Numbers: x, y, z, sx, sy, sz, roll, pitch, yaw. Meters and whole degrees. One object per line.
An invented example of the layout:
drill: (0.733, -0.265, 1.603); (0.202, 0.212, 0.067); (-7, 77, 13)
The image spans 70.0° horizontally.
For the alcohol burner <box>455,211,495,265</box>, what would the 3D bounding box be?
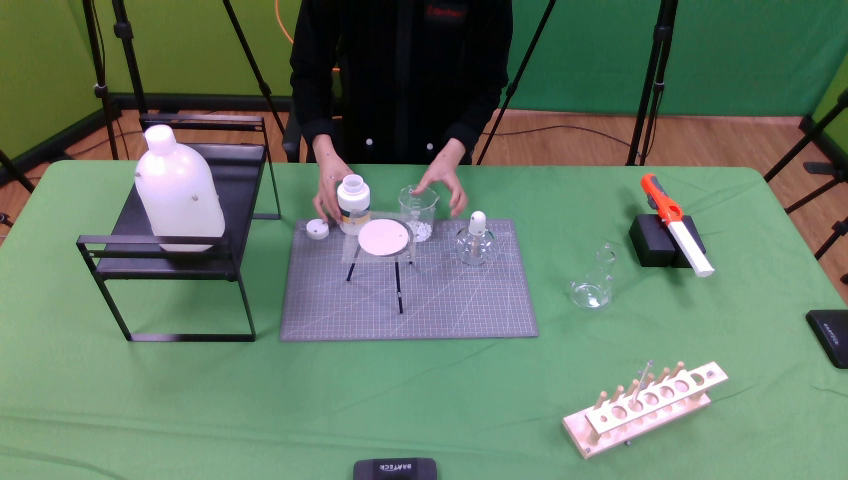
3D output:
alcohol burner: (0.097, -0.010, 1.147); (0.078, 0.120, 0.077); (1, 47, -1)

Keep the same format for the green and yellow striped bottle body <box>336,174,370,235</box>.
green and yellow striped bottle body: (-0.138, -0.071, 1.184); (0.063, 0.120, 0.063); (2, 45, -2)

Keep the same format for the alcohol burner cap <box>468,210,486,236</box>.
alcohol burner cap: (0.100, -0.034, 1.119); (0.034, 0.048, 0.033); (0, 53, 0)

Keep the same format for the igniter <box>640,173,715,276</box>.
igniter: (0.495, -0.039, 1.204); (0.057, 0.025, 0.274); (-2, 47, -12)

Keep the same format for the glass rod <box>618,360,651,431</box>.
glass rod: (0.298, 0.227, 0.865); (0.008, 0.201, 0.008); (-1, 47, 2)

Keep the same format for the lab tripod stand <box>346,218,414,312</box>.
lab tripod stand: (-0.070, 0.037, 1.075); (0.148, 0.132, 0.147); (1, 48, -1)

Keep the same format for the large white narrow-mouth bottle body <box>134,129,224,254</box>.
large white narrow-mouth bottle body: (-0.358, -0.075, 0.875); (0.102, 0.195, 0.101); (1, 48, -1)

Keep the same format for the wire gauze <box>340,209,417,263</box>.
wire gauze: (-0.074, -0.007, 1.023); (0.121, 0.011, 0.124); (3, 46, 0)

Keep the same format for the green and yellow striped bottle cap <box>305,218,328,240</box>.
green and yellow striped bottle cap: (-0.214, -0.022, 1.203); (0.045, 0.020, 0.045); (4, 47, -4)

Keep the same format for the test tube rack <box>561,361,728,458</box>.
test tube rack: (0.341, 0.248, 0.940); (0.243, 0.085, 0.066); (-15, 49, -18)

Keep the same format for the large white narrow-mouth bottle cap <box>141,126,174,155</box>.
large white narrow-mouth bottle cap: (-0.356, -0.133, 0.811); (0.038, 0.024, 0.037); (2, 48, -1)

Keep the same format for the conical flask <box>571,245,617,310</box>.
conical flask: (0.313, 0.064, 1.089); (0.075, 0.122, 0.075); (2, 46, -2)

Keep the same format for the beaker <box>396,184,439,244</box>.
beaker: (-0.014, -0.049, 1.187); (0.084, 0.101, 0.073); (-8, 48, -12)
